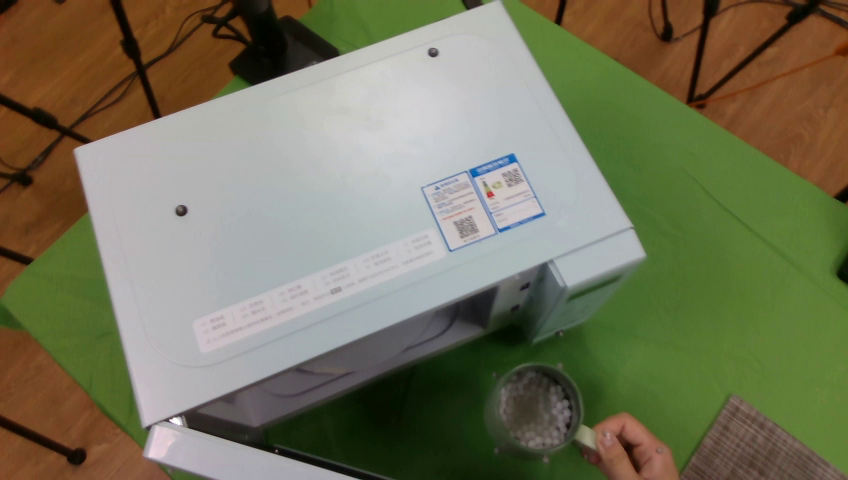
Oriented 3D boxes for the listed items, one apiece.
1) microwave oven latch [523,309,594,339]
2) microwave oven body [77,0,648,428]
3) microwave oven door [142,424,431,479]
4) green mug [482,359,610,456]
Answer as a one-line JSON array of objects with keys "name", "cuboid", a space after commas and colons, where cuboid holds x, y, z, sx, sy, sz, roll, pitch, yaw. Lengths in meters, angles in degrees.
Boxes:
[{"name": "microwave oven latch", "cuboid": [0.159, 0.090, 0.718, 0.079, 0.030, 0.030, -20, 71, -6]}, {"name": "microwave oven body", "cuboid": [-0.064, -0.007, 0.654, 0.442, 0.262, 0.323, -22, 71, -6]}, {"name": "microwave oven door", "cuboid": [-0.041, 0.231, 0.558, 0.355, 0.245, 0.039, 14, 71, 6]}, {"name": "green mug", "cuboid": [0.119, 0.169, 0.587, 0.125, 0.105, 0.092, 26, 74, 10]}]
